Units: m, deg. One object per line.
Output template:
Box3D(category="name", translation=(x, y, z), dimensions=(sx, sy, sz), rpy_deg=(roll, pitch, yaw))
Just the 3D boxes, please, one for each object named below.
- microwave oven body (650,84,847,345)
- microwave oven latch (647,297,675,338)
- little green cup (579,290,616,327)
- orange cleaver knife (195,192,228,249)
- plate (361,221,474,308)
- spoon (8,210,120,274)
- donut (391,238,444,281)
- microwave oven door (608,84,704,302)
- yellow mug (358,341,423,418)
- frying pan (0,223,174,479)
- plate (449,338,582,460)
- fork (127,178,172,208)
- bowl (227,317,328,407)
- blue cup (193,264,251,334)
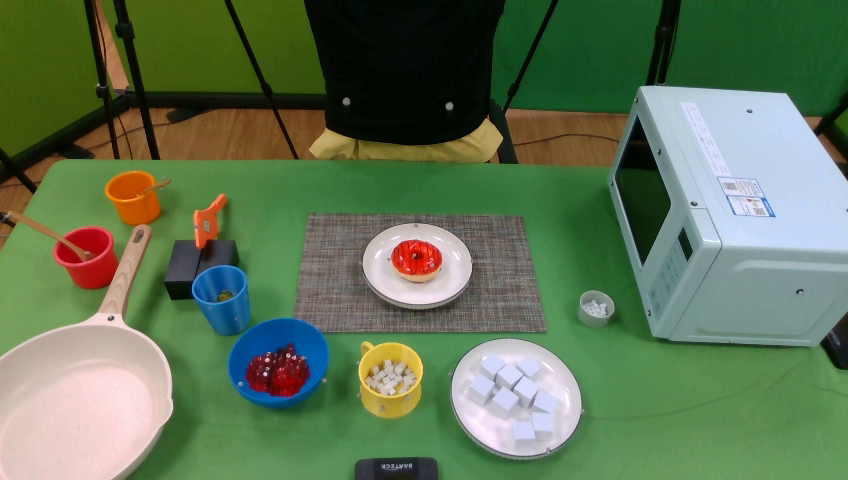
Box3D(category="microwave oven body", translation=(0.568, -0.054, 1.116), dimensions=(0.326, 0.261, 0.439), rpy_deg=(2, 46, -1))
Box3D(category="microwave oven latch", translation=(0.413, 0.133, 1.060), dimensions=(0.030, 0.029, 0.078), rpy_deg=(5, 46, 2))
Box3D(category="little green cup", translation=(0.309, 0.124, 1.086), dimensions=(0.061, 0.039, 0.061), rpy_deg=(2, 44, -1))
Box3D(category="orange cleaver knife", translation=(-0.406, -0.041, 1.163), dimensions=(0.012, 0.077, 0.210), rpy_deg=(-2, 18, -3))
Box3D(category="plate", translation=(-0.011, 0.049, 1.130), dimensions=(0.209, 0.038, 0.208), rpy_deg=(2, 46, -2))
Box3D(category="spoon", translation=(-0.628, 0.002, 1.063), dimensions=(0.195, 0.021, 0.041), rpy_deg=(40, 39, -27))
Box3D(category="donut", translation=(-0.012, 0.035, 1.128), dimensions=(0.099, 0.048, 0.098), rpy_deg=(3, 43, -3))
Box3D(category="microwave oven door", translation=(0.424, -0.096, 1.138), dimensions=(0.039, 0.245, 0.353), rpy_deg=(2, 46, -1))
Box3D(category="yellow mug", translation=(-0.063, 0.210, 0.961), dimensions=(0.100, 0.064, 0.130), rpy_deg=(-29, 54, -27))
Box3D(category="frying pan", translation=(-0.505, 0.169, 0.941), dimensions=(0.307, 0.103, 0.485), rpy_deg=(5, 54, -1))
Box3D(category="plate", translation=(0.141, 0.251, 0.955), dimensions=(0.208, 0.039, 0.206), rpy_deg=(2, 46, -2))
Box3D(category="fork", translation=(-0.523, -0.090, 1.155), dimensions=(0.028, 0.207, 0.019), rpy_deg=(-43, 107, -41))
Box3D(category="bowl", translation=(-0.222, 0.203, 0.947), dimensions=(0.151, 0.077, 0.150), rpy_deg=(2, 46, -2))
Box3D(category="blue cup", translation=(-0.331, 0.105, 1.015), dimensions=(0.092, 0.101, 0.092), rpy_deg=(1, 45, -1))
